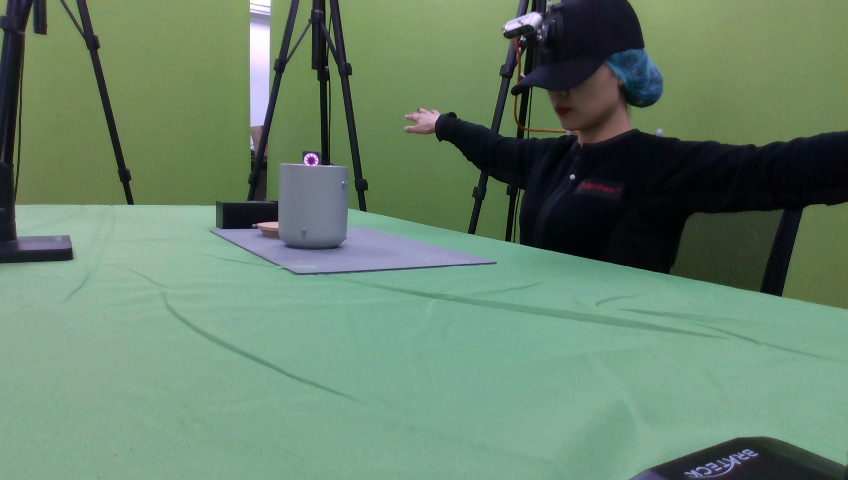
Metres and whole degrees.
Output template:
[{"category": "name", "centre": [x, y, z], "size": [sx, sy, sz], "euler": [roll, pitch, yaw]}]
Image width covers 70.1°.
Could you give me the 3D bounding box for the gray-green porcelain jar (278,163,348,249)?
[{"category": "gray-green porcelain jar", "centre": [-0.171, -0.053, 0.934], "size": [0.106, 0.126, 0.106], "euler": [2, 7, 0]}]

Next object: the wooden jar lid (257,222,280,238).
[{"category": "wooden jar lid", "centre": [-0.234, -0.018, 1.053], "size": [0.108, 0.020, 0.108], "euler": [2, 9, 0]}]
